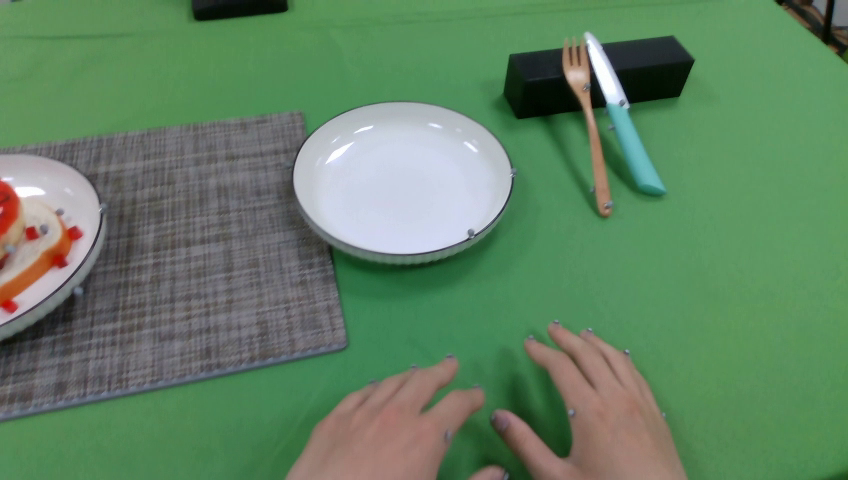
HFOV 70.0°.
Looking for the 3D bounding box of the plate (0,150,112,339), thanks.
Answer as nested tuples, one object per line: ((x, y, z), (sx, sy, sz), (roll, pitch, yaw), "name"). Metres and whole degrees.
((-0.367, 0.007, 0.502), (0.209, 0.038, 0.207), (2, 50, -2), "plate")

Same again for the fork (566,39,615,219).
((0.171, -0.117, 0.617), (0.028, 0.019, 0.205), (0, 67, -10), "fork")

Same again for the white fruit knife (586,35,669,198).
((0.207, -0.135, 0.636), (0.027, 0.016, 0.205), (-9, 68, -13), "white fruit knife")

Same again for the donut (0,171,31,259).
((-0.365, -0.015, 0.475), (0.099, 0.048, 0.098), (2, 50, -2), "donut")

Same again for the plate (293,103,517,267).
((-0.017, -0.053, 0.578), (0.208, 0.039, 0.205), (2, 50, -2), "plate")

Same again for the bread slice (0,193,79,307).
((-0.363, 0.011, 0.503), (0.104, 0.019, 0.131), (30, 56, 19), "bread slice")
